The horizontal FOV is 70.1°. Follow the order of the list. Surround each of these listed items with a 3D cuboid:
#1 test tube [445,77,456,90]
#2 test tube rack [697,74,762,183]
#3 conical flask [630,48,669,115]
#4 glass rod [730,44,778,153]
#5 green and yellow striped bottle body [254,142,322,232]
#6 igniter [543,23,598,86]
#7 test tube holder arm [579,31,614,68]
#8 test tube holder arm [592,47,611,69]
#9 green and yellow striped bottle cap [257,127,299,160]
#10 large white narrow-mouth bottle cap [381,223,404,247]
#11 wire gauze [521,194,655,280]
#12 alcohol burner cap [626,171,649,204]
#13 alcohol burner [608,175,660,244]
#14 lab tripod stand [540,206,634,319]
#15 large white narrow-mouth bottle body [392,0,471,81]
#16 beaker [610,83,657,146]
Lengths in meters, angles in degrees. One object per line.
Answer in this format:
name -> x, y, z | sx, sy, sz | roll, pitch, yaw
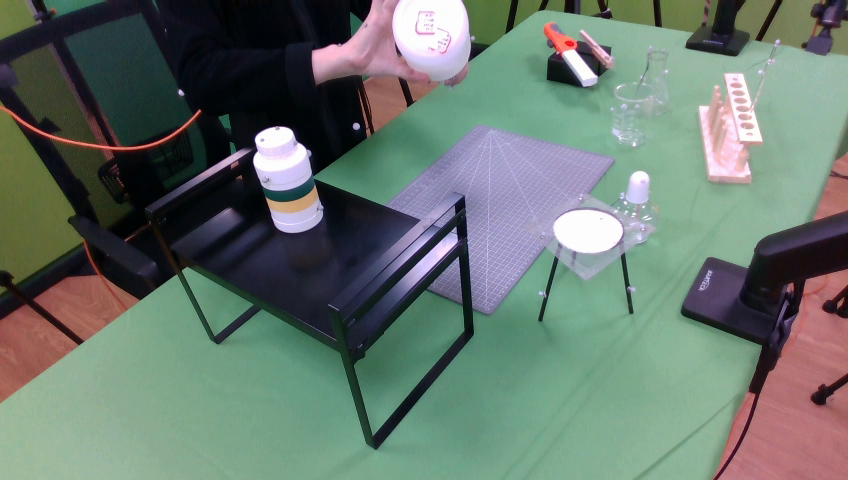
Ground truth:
test tube -> 0.041, -0.281, 1.032 | 0.017, 0.017, 0.150 | 0, 0, 8
test tube rack -> 0.547, -0.208, 1.095 | 0.066, 0.085, 0.242 | 5, 42, 15
conical flask -> 0.457, -0.317, 1.205 | 0.075, 0.122, 0.075 | -4, 41, 4
glass rod -> 0.555, -0.234, 1.020 | 0.008, 0.200, 0.008 | 2, 40, -1
green and yellow striped bottle body -> -0.165, -0.073, 0.732 | 0.063, 0.120, 0.063 | -4, 41, 4
igniter -> 0.320, -0.419, 1.345 | 0.057, 0.025, 0.274 | -12, 44, -3
test tube holder arm -> 0.384, -0.428, 1.351 | 0.013, 0.015, 0.177 | -11, 41, -4
test tube holder arm -> 0.386, -0.398, 1.317 | 0.010, 0.015, 0.087 | -10, 41, -3
green and yellow striped bottle cap -> -0.169, -0.112, 0.698 | 0.045, 0.020, 0.045 | -5, 40, 5
large white narrow-mouth bottle cap -> -0.052, -0.009, 0.992 | 0.038, 0.024, 0.037 | -5, 39, 4
wire gauze -> 0.207, -0.012, 0.772 | 0.122, 0.011, 0.124 | -28, 44, -20
alcohol burner cap -> 0.320, -0.081, 0.900 | 0.034, 0.048, 0.033 | -4, 42, 4
alcohol burner -> 0.323, -0.053, 0.924 | 0.078, 0.119, 0.077 | -4, 43, 4
lab tripod stand -> 0.217, 0.034, 0.821 | 0.148, 0.132, 0.147 | -4, 42, 4
large white narrow-mouth bottle body -> 0.016, -0.282, 0.864 | 0.102, 0.101, 0.195 | -2, 3, 6
beaker -> 0.388, -0.235, 1.137 | 0.074, 0.101, 0.083 | -31, 45, -26
